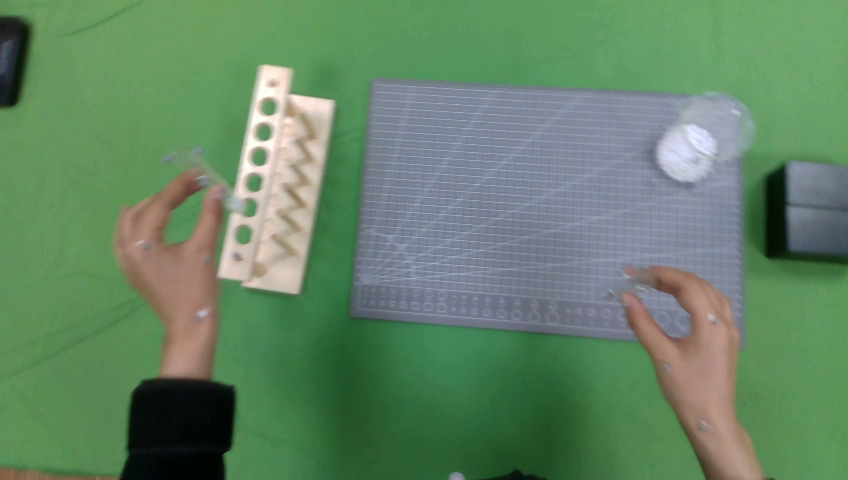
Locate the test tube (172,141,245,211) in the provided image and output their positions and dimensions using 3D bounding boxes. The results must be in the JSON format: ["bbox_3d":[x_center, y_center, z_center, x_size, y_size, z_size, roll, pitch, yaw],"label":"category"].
[{"bbox_3d":[-0.185,-0.052,0.535,0.017,0.151,0.017,0,77,0],"label":"test tube"}]

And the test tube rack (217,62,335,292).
[{"bbox_3d":[-0.164,-0.069,0.694,0.067,0.085,0.241,9,80,4],"label":"test tube rack"}]

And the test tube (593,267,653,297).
[{"bbox_3d":[0.175,0.040,0.546,0.017,0.151,0.017,0,81,3],"label":"test tube"}]

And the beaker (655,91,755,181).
[{"bbox_3d":[0.304,-0.112,0.676,0.083,0.100,0.074,36,82,9],"label":"beaker"}]
